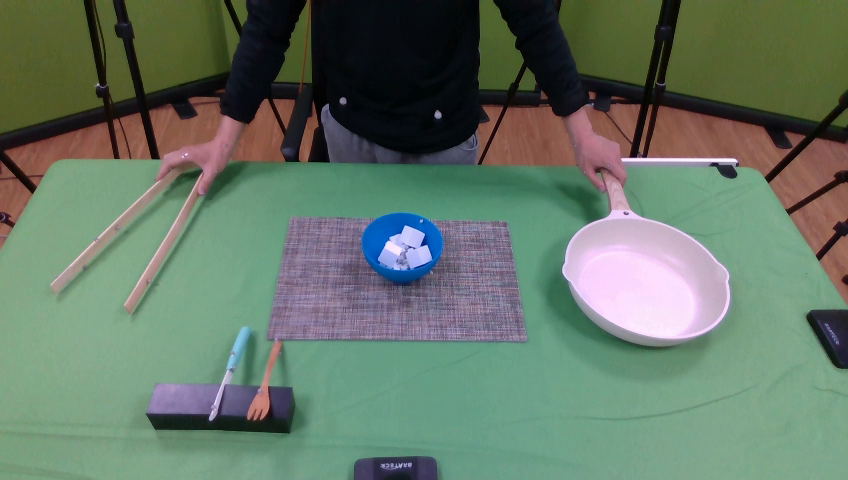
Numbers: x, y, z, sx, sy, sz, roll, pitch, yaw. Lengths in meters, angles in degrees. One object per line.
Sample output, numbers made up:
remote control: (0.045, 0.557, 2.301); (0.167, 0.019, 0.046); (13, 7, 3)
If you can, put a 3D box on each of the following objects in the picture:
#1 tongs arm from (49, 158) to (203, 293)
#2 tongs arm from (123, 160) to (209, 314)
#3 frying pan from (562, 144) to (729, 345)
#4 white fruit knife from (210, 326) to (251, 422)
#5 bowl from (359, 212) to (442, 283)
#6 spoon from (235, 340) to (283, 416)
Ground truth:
tongs arm: (-0.561, -0.039, 1.172); (0.050, 0.026, 0.383); (16, 49, 12)
tongs arm: (-0.485, -0.020, 1.162); (0.028, 0.028, 0.385); (4, 48, 6)
frying pan: (0.396, -0.008, 1.179); (0.307, 0.103, 0.484); (1, 55, -4)
white fruit knife: (-0.300, 0.201, 0.941); (0.016, 0.027, 0.206); (-2, 32, 1)
bowl: (-0.044, 0.026, 1.125); (0.151, 0.077, 0.150); (2, 46, -2)
spoon: (-0.244, 0.207, 0.932); (0.042, 0.022, 0.193); (28, 25, -8)
